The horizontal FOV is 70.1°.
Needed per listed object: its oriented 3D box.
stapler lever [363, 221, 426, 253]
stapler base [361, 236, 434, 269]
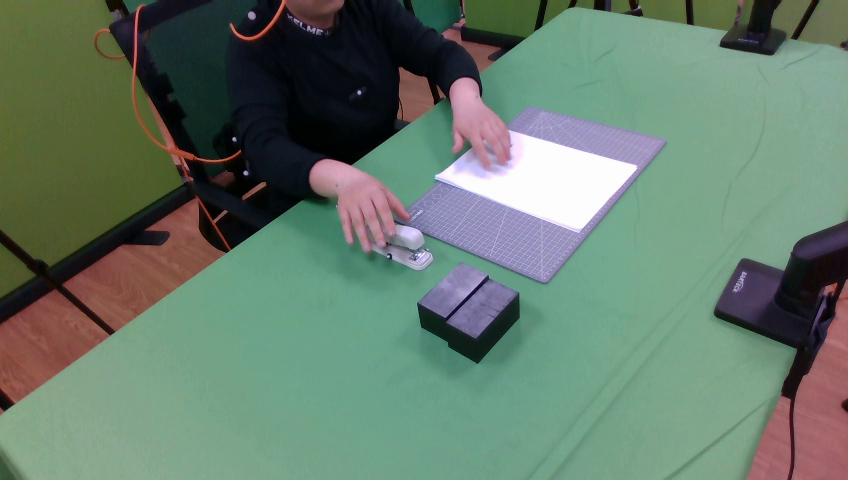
[{"bbox_3d":[-0.048,-0.011,0.958,0.117,0.040,0.027,21,46,32],"label":"stapler lever"},{"bbox_3d":[-0.044,0.009,0.974,0.129,0.024,0.041,21,45,32],"label":"stapler base"}]
